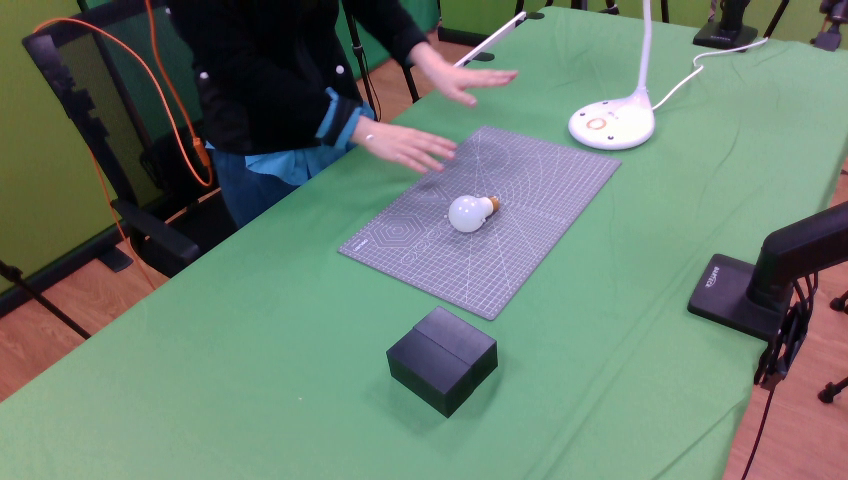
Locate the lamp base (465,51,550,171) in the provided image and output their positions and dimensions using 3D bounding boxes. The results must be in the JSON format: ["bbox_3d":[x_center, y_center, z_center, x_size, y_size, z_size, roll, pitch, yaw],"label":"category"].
[{"bbox_3d":[0.159,-0.243,1.103,0.180,0.181,0.159,-32,46,-29],"label":"lamp base"}]
